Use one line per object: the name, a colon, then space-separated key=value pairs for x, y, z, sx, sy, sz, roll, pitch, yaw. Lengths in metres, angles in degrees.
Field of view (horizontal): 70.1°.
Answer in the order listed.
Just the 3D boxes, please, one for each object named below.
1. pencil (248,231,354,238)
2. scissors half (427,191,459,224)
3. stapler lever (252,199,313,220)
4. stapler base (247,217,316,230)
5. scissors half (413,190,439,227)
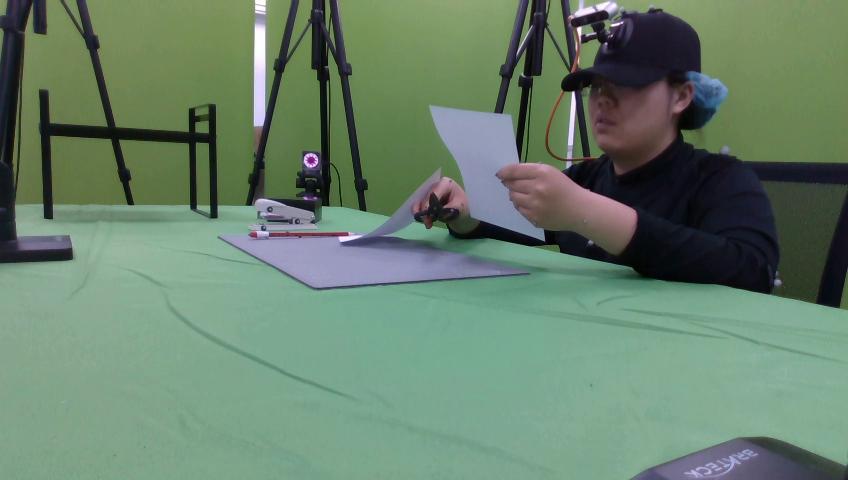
pencil: x=-0.206 y=-0.009 z=1.039 sx=0.195 sy=0.012 sz=0.012 roll=0 pitch=8 yaw=-36
scissors half: x=0.026 y=-0.050 z=0.929 sx=0.040 sy=0.013 sz=0.175 roll=-9 pitch=-13 yaw=11
stapler lever: x=-0.273 y=-0.058 z=1.170 sx=0.119 sy=0.040 sz=0.026 roll=0 pitch=10 yaw=-37
stapler base: x=-0.276 y=-0.033 z=1.172 sx=0.131 sy=0.024 sz=0.041 roll=0 pitch=10 yaw=-37
scissors half: x=0.006 y=-0.047 z=0.930 sx=0.040 sy=0.013 sz=0.175 roll=-10 pitch=-14 yaw=-7
